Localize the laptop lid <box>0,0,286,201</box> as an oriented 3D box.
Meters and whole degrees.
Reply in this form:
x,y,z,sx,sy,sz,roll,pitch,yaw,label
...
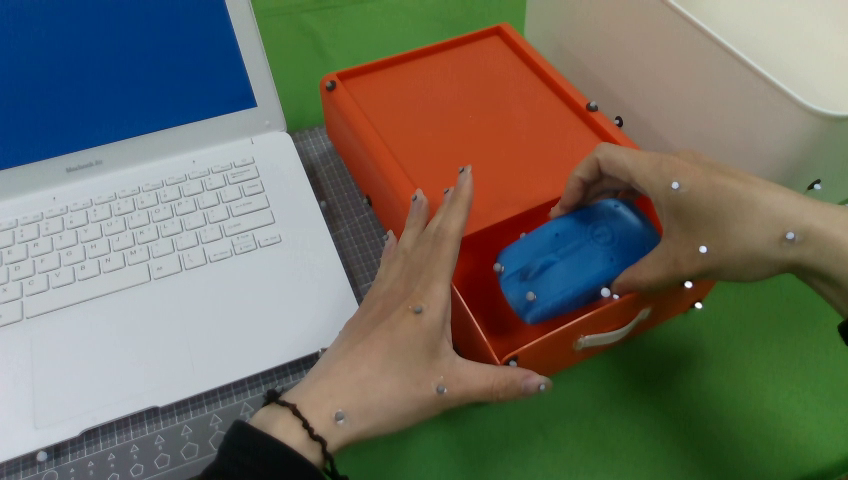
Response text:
x,y,z,sx,sy,sz,roll,pitch,yaw,label
-0.314,-0.152,0.489,0.357,0.243,0.013,-19,26,-13,laptop lid

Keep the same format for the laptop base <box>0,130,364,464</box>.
x,y,z,sx,sy,sz,roll,pitch,yaw,label
-0.248,0.037,0.475,0.355,0.023,0.233,-18,59,-14,laptop base

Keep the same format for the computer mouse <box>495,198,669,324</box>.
x,y,z,sx,sy,sz,roll,pitch,yaw,label
0.109,0.012,0.428,0.117,0.041,0.062,-22,59,4,computer mouse

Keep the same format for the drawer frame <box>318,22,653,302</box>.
x,y,z,sx,sy,sz,roll,pitch,yaw,label
0.044,-0.078,0.524,0.202,0.083,0.211,-23,56,-18,drawer frame

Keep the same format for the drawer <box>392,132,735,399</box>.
x,y,z,sx,sy,sz,roll,pitch,yaw,label
0.088,-0.010,0.475,0.195,0.074,0.209,-21,55,-17,drawer

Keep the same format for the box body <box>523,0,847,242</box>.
x,y,z,sx,sy,sz,roll,pitch,yaw,label
0.285,-0.196,0.568,0.254,0.162,0.360,-22,56,-17,box body
